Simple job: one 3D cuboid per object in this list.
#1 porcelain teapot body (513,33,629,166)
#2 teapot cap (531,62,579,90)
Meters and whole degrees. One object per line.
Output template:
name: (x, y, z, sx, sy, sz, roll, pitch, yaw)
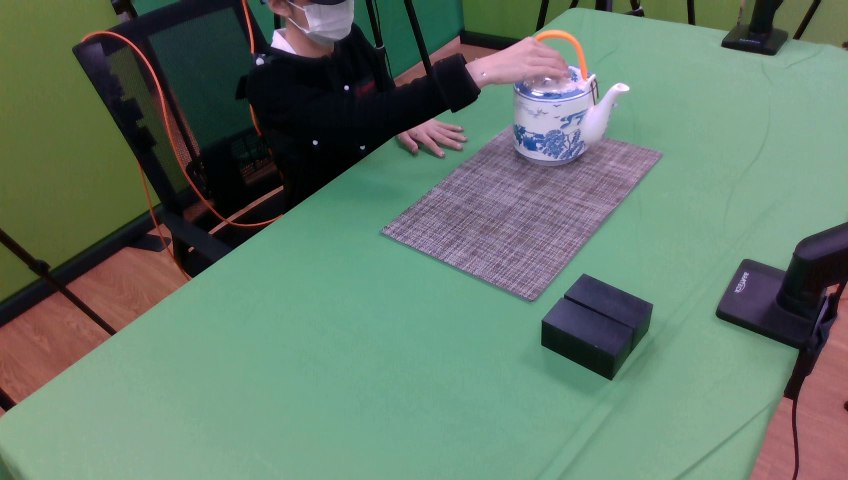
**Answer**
porcelain teapot body: (0.256, -0.248, 1.065, 0.204, 0.226, 0.145, 18, 47, 28)
teapot cap: (0.228, -0.287, 1.054, 0.085, 0.044, 0.085, -3, 41, 3)
